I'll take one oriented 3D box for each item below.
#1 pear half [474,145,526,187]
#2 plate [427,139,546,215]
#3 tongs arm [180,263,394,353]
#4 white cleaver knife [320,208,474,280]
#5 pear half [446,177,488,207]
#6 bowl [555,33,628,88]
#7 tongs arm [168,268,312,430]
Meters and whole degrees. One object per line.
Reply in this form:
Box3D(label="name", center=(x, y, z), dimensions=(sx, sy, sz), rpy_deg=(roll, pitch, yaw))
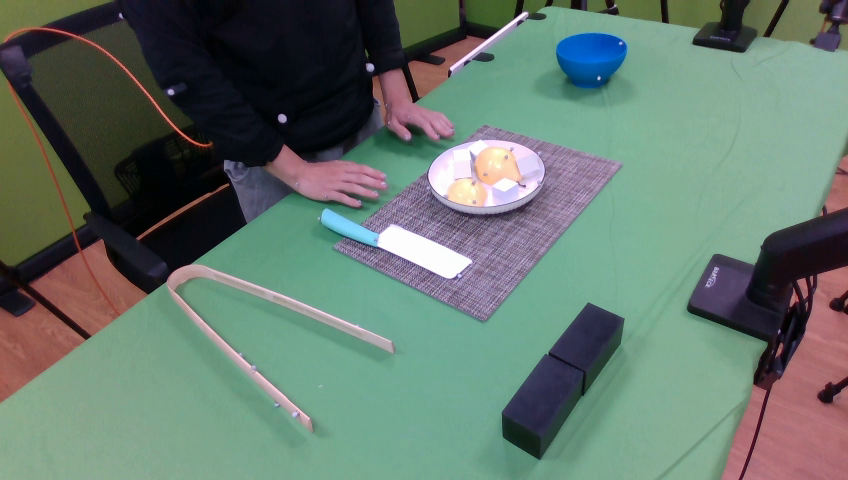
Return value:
Box3D(label="pear half", center=(0.140, -0.129, 1.059), dimensions=(0.076, 0.056, 0.109), rpy_deg=(-37, 52, -24))
Box3D(label="plate", center=(0.109, -0.106, 1.058), dimensions=(0.207, 0.039, 0.206), rpy_deg=(-4, 40, 4))
Box3D(label="tongs arm", center=(-0.209, 0.094, 0.882), dimensions=(0.385, 0.028, 0.028), rpy_deg=(16, 49, 25))
Box3D(label="white cleaver knife", center=(-0.052, 0.001, 0.978), dimensions=(0.284, 0.021, 0.066), rpy_deg=(23, 42, 26))
Box3D(label="pear half", center=(0.073, -0.086, 1.031), dimensions=(0.070, 0.031, 0.087), rpy_deg=(-20, 36, -10))
Box3D(label="bowl", center=(0.361, -0.384, 1.318), dimensions=(0.151, 0.077, 0.150), rpy_deg=(-4, 41, 4))
Box3D(label="tongs arm", center=(-0.259, 0.136, 0.835), dimensions=(0.381, 0.026, 0.051), rpy_deg=(27, 50, 35))
